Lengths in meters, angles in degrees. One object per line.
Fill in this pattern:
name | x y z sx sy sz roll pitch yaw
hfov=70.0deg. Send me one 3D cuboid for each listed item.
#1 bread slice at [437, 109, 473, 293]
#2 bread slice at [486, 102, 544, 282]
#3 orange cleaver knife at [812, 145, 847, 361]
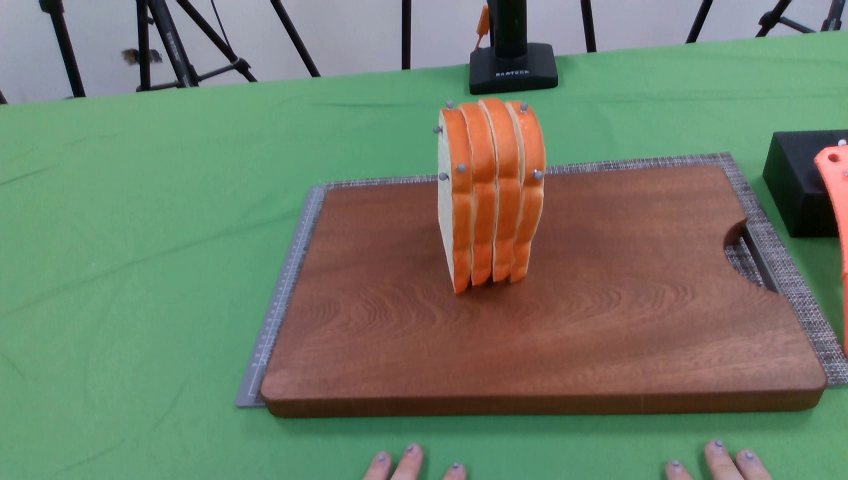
bread slice | 0.025 -0.041 0.509 0.018 0.135 0.106 -6 37 -3
bread slice | 0.075 -0.046 0.506 0.019 0.132 0.103 -3 42 -7
orange cleaver knife | 0.358 0.002 0.483 0.077 0.012 0.210 8 62 13
